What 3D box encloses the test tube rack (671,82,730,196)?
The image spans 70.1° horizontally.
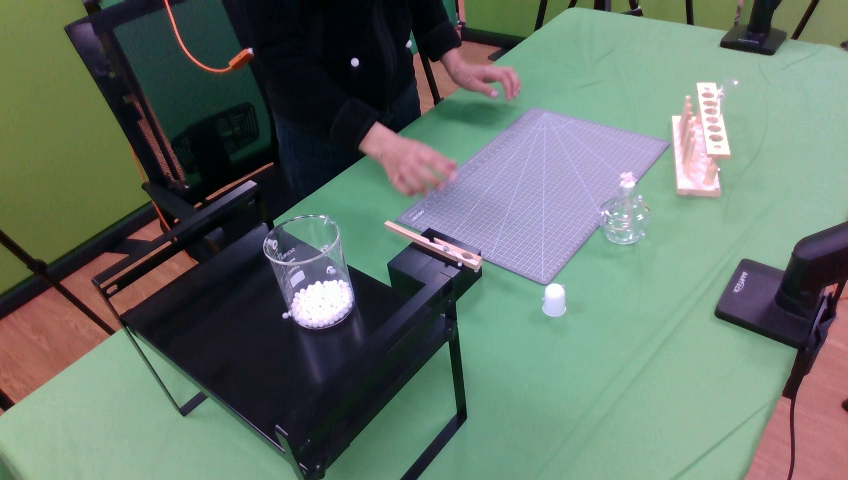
[{"bbox_3d":[0.482,-0.184,1.067,0.066,0.085,0.242,6,42,15],"label":"test tube rack"}]

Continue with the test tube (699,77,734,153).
[{"bbox_3d":[0.489,-0.207,1.017,0.017,0.151,0.017,-2,48,3],"label":"test tube"}]

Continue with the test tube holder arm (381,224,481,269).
[{"bbox_3d":[0.007,0.007,0.896,0.177,0.015,0.013,19,49,30],"label":"test tube holder arm"}]

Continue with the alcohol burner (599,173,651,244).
[{"bbox_3d":[0.307,-0.052,0.920,0.078,0.119,0.077,-6,42,6],"label":"alcohol burner"}]

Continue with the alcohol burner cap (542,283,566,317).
[{"bbox_3d":[0.181,0.081,0.839,0.034,0.048,0.033,-3,40,3],"label":"alcohol burner cap"}]

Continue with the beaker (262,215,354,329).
[{"bbox_3d":[-0.112,0.034,0.616,0.073,0.101,0.084,13,44,23],"label":"beaker"}]

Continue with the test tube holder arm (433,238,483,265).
[{"bbox_3d":[0.047,0.017,0.876,0.087,0.015,0.010,21,50,31],"label":"test tube holder arm"}]
